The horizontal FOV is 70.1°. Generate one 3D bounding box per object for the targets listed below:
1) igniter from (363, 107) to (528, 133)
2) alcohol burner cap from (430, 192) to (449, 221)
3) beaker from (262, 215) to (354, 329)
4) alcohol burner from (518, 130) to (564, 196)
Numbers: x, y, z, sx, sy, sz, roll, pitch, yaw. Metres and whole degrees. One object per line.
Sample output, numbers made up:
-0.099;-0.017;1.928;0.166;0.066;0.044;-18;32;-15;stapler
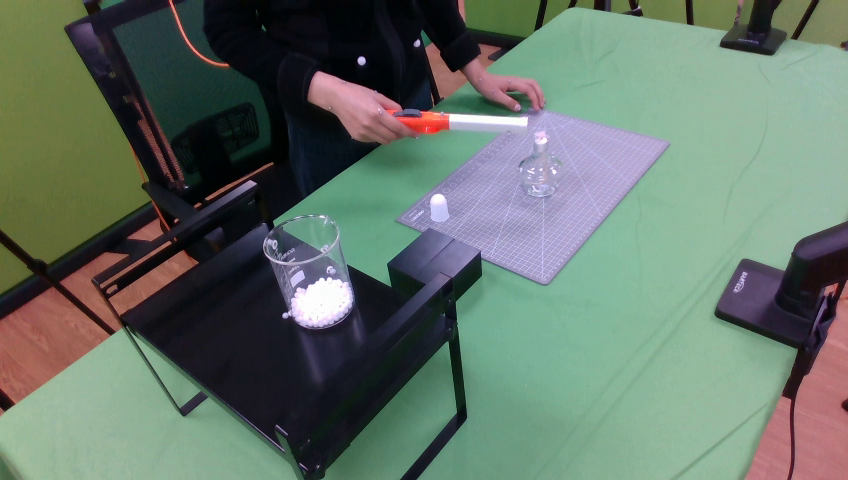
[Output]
0.032;-0.197;1.000;0.276;0.057;0.025;4;67;7;igniter
0.025;-0.059;1.020;0.034;0.048;0.033;-4;41;4;alcohol burner cap
-0.112;0.034;0.616;0.073;0.101;0.084;13;44;23;beaker
0.199;-0.135;1.027;0.078;0.119;0.077;-5;42;5;alcohol burner
